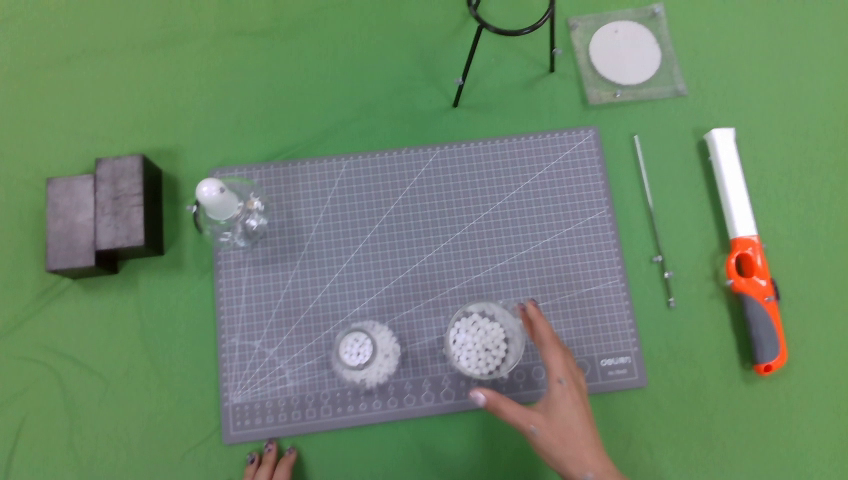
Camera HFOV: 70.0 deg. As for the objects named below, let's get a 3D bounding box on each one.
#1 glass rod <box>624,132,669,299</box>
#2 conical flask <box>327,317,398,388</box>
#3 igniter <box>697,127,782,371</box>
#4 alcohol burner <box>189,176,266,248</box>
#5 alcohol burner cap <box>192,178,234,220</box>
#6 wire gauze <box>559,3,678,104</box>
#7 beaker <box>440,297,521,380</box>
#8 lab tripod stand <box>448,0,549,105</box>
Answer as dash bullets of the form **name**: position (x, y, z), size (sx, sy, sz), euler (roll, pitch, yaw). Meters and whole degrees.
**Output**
- **glass rod**: position (0.253, -0.031, 0.690), size (0.008, 0.008, 0.198), euler (-9, 79, -4)
- **conical flask**: position (-0.064, 0.107, 0.590), size (0.075, 0.122, 0.075), euler (0, 77, -1)
- **igniter**: position (0.351, 0.005, 0.676), size (0.057, 0.025, 0.275), euler (-4, 78, -14)
- **alcohol burner**: position (-0.206, -0.033, 0.620), size (0.078, 0.119, 0.077), euler (0, 78, 1)
- **alcohol burner cap**: position (-0.206, -0.042, 0.585), size (0.034, 0.048, 0.033), euler (1, 69, -2)
- **wire gauze**: position (0.236, -0.224, 0.731), size (0.125, 0.011, 0.121), euler (-8, 79, -5)
- **beaker**: position (0.055, 0.099, 0.608), size (0.074, 0.100, 0.084), euler (39, 79, 7)
- **lab tripod stand**: position (0.077, -0.227, 0.663), size (0.148, 0.132, 0.148), euler (0, 80, -2)
